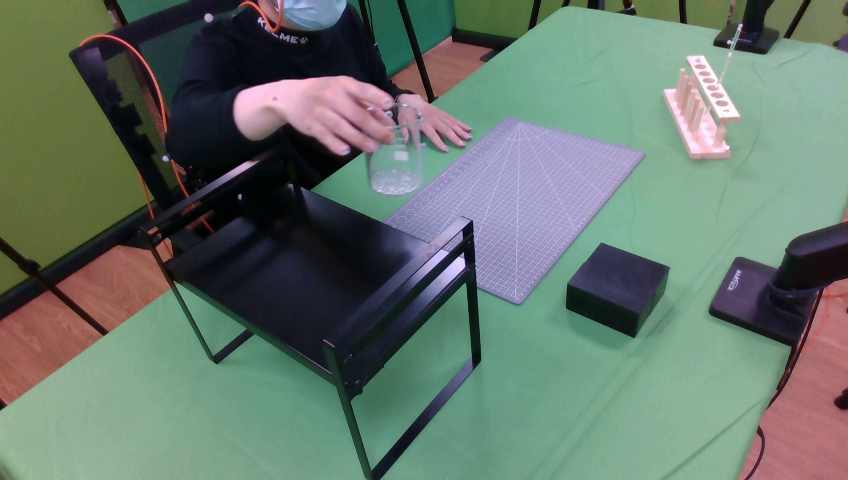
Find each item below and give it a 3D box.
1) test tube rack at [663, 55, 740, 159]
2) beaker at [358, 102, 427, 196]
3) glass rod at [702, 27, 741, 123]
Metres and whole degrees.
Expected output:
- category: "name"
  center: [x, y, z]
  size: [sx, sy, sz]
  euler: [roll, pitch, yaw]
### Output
- category: "test tube rack"
  center: [0.518, -0.256, 1.144]
  size: [0.066, 0.085, 0.241]
  euler: [-1, 41, 8]
- category: "beaker"
  center: [-0.036, -0.113, 0.760]
  size: [0.084, 0.100, 0.073]
  euler: [-2, 35, 1]
- category: "glass rod"
  center: [0.528, -0.288, 1.078]
  size: [0.008, 0.200, 0.008]
  euler: [-1, 50, 2]
